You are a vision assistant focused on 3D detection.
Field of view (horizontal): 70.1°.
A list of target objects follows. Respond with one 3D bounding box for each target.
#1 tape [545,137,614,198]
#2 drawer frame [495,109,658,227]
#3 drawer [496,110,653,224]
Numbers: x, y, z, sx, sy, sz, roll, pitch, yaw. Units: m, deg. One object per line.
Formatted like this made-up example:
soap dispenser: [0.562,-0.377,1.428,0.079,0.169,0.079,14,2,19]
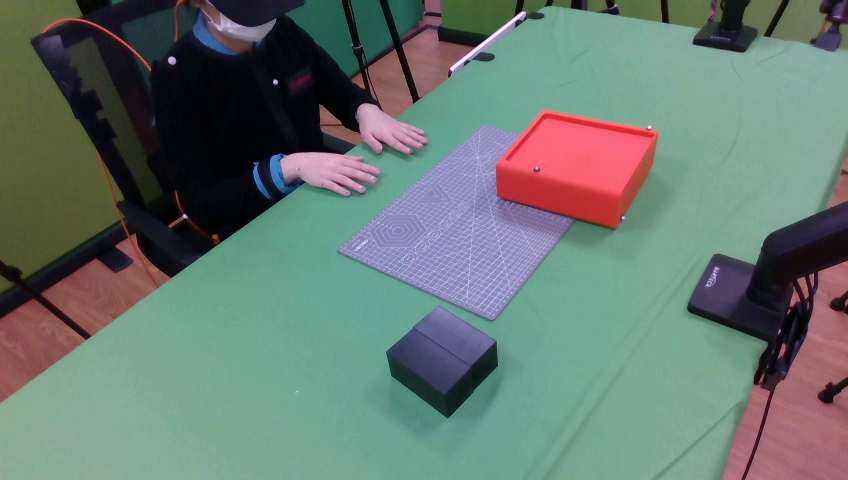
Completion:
tape: [0.264,-0.125,1.036,0.117,0.053,0.116,-4,40,4]
drawer frame: [0.260,-0.130,1.031,0.212,0.083,0.202,18,46,26]
drawer: [0.257,-0.130,1.032,0.210,0.073,0.195,18,46,26]
